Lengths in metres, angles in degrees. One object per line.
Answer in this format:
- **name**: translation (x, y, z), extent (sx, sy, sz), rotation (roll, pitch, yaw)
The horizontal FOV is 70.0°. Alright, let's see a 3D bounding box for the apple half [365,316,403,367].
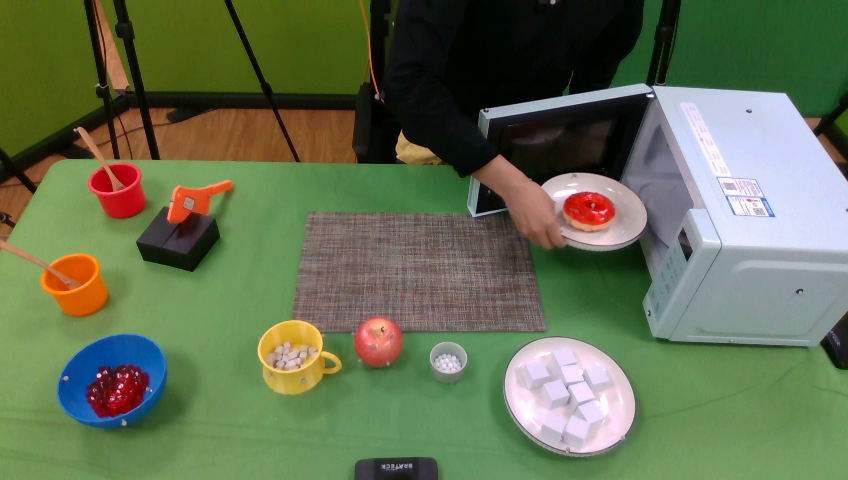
- **apple half**: translation (-0.063, 0.165, 1.000), extent (0.053, 0.075, 0.080), rotation (-16, 45, -24)

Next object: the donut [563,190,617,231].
- **donut**: translation (0.307, -0.056, 1.122), extent (0.099, 0.048, 0.098), rotation (1, 42, -1)

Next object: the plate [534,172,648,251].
- **plate**: translation (0.308, -0.050, 1.133), extent (0.209, 0.038, 0.208), rotation (2, 44, -1)

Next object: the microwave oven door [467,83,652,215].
- **microwave oven door**: translation (0.267, -0.181, 1.214), extent (0.356, 0.245, 0.039), rotation (-12, 49, -15)

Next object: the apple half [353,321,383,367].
- **apple half**: translation (-0.097, 0.177, 0.984), extent (0.033, 0.081, 0.081), rotation (-17, 49, -24)

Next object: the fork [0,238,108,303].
- **fork**: translation (-0.633, 0.048, 1.017), extent (0.208, 0.018, 0.028), rotation (40, 43, -27)

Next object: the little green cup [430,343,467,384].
- **little green cup**: translation (0.039, 0.203, 0.993), extent (0.061, 0.039, 0.061), rotation (2, 46, -2)

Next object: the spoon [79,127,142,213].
- **spoon**: translation (-0.624, -0.139, 1.203), extent (0.041, 0.021, 0.194), rotation (-33, 100, -26)

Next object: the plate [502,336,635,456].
- **plate**: translation (0.225, 0.248, 0.963), extent (0.208, 0.039, 0.206), rotation (2, 46, -2)

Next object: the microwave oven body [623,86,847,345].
- **microwave oven body**: translation (0.567, -0.053, 1.118), extent (0.326, 0.261, 0.439), rotation (2, 45, -1)

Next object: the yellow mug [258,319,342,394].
- **yellow mug**: translation (-0.195, 0.188, 0.972), extent (0.131, 0.064, 0.099), rotation (9, 47, 4)

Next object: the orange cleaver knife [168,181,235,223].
- **orange cleaver knife**: translation (-0.436, -0.078, 1.196), extent (0.012, 0.077, 0.211), rotation (16, 15, 10)

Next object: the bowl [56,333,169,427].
- **bowl**: translation (-0.456, 0.223, 0.912), extent (0.151, 0.077, 0.150), rotation (3, 46, -2)

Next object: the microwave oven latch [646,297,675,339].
- **microwave oven latch**: translation (0.412, 0.134, 1.061), extent (0.030, 0.029, 0.078), rotation (4, 45, 1)
